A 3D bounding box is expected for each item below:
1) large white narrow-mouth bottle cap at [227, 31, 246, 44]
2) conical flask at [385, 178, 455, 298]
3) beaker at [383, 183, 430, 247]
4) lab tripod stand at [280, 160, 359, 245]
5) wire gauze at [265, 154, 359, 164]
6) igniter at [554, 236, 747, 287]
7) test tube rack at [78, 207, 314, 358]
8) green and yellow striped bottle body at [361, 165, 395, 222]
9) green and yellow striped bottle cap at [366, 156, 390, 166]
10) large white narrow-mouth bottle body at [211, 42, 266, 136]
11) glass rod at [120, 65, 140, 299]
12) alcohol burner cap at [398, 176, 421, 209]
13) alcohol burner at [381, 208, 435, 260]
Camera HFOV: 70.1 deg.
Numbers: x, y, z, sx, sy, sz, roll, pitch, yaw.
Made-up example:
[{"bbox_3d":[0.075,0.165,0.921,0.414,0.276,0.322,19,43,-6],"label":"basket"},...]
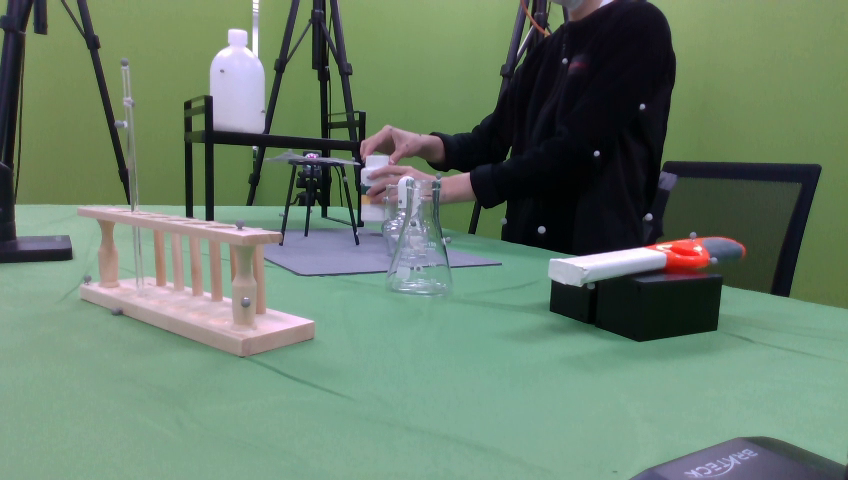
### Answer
[{"bbox_3d":[-0.361,-0.389,1.166,0.038,0.024,0.037,1,7,0],"label":"large white narrow-mouth bottle cap"},{"bbox_3d":[-0.002,-0.004,0.639,0.075,0.122,0.075,2,7,0],"label":"conical flask"},{"bbox_3d":[-0.027,-0.041,0.996,0.074,0.100,0.083,-5,11,-43],"label":"beaker"},{"bbox_3d":[-0.176,-0.062,0.973,0.148,0.131,0.148,1,7,0],"label":"lab tripod stand"},{"bbox_3d":[-0.181,-0.129,0.969,0.126,0.011,0.121,-1,7,-27],"label":"wire gauze"},{"bbox_3d":[0.221,0.017,0.558,0.278,0.025,0.057,-5,15,-39],"label":"igniter"},{"bbox_3d":[-0.197,0.024,0.499,0.241,0.085,0.067,8,8,37],"label":"test tube rack"},{"bbox_3d":[-0.085,-0.094,1.117,0.063,0.119,0.063,1,5,0],"label":"green and yellow striped bottle body"},{"bbox_3d":[-0.086,-0.145,1.114,0.045,0.020,0.045,0,6,0],"label":"green and yellow striped bottle cap"},{"bbox_3d":[-0.361,-0.302,1.176,0.102,0.194,0.102,1,7,0],"label":"large white narrow-mouth bottle body"},{"bbox_3d":[-0.249,-0.047,0.512,0.008,0.199,0.008,-1,4,0],"label":"glass rod"},{"bbox_3d":[-0.023,-0.068,0.866,0.034,0.048,0.034,-5,8,1],"label":"alcohol burner cap"},{"bbox_3d":[-0.023,-0.032,0.871,0.078,0.119,0.078,0,6,0],"label":"alcohol burner"}]
